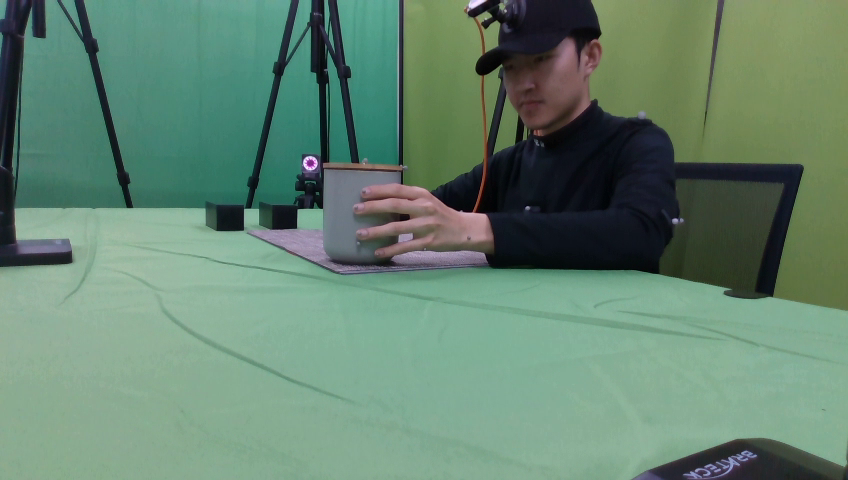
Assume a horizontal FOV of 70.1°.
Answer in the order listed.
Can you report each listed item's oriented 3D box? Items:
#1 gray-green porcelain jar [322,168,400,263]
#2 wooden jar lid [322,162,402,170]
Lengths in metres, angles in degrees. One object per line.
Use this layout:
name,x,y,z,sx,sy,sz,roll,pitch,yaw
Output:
gray-green porcelain jar,-0.086,-0.035,0.833,0.106,0.126,0.106,1,7,0
wooden jar lid,-0.084,-0.095,0.825,0.108,0.020,0.108,2,4,0
